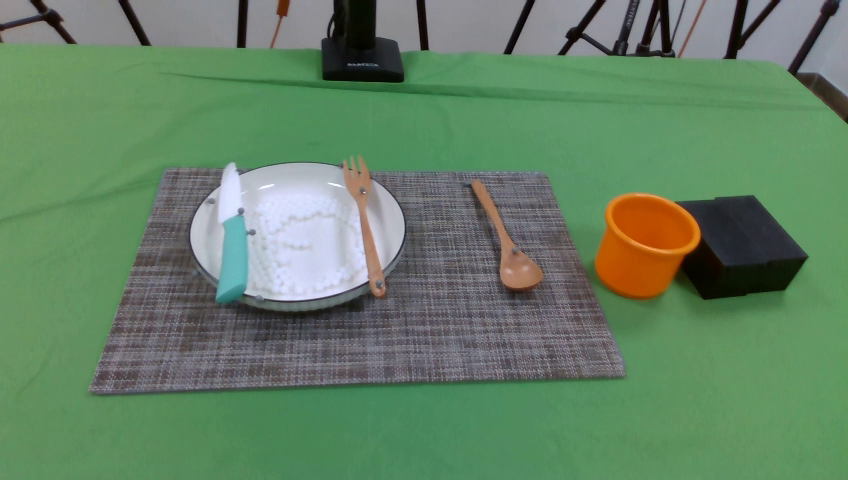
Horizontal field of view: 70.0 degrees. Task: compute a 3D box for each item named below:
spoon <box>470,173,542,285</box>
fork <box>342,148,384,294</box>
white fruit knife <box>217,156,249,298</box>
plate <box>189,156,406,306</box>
[{"bbox_3d":[0.081,-0.019,0.654,0.041,0.022,0.191,-18,46,0],"label":"spoon"},{"bbox_3d":[-0.060,-0.026,0.601,0.028,0.019,0.205,-11,44,-5],"label":"fork"},{"bbox_3d":[-0.184,-0.023,0.581,0.027,0.016,0.205,-8,44,-11],"label":"white fruit knife"},{"bbox_3d":[-0.122,-0.010,0.607,0.209,0.038,0.207,4,43,-3],"label":"plate"}]
